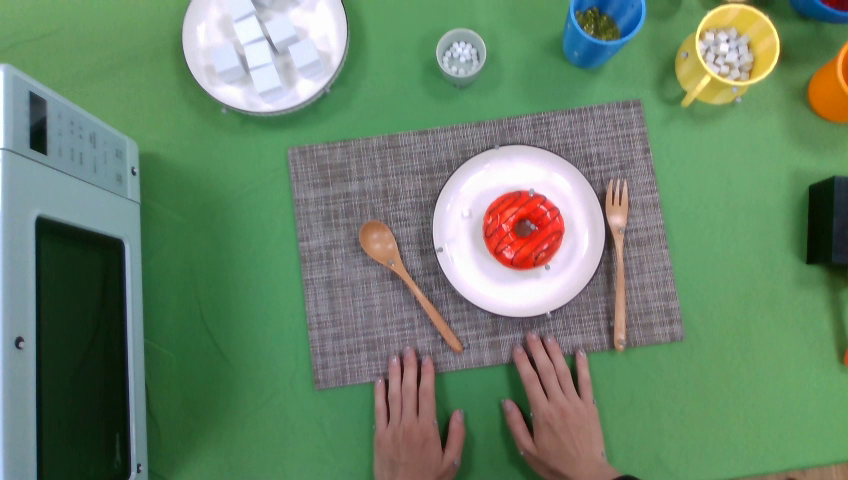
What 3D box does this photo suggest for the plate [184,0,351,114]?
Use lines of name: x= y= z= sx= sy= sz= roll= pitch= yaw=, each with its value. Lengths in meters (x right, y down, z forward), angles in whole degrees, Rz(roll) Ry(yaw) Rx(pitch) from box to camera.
plate: x=-0.195 y=-0.256 z=0.767 sx=0.208 sy=0.039 sz=0.207 roll=0 pitch=83 yaw=1

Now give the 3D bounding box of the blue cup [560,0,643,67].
blue cup: x=0.204 y=-0.255 z=0.729 sx=0.092 sy=0.100 sz=0.092 roll=0 pitch=85 yaw=1

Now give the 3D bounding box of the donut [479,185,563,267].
donut: x=0.114 y=-0.016 z=0.719 sx=0.099 sy=0.048 sz=0.099 roll=0 pitch=84 yaw=3

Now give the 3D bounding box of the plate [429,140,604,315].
plate: x=0.109 y=-0.014 z=0.730 sx=0.209 sy=0.038 sz=0.208 roll=0 pitch=83 yaw=1

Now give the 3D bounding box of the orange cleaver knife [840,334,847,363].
orange cleaver knife: x=0.514 y=0.041 z=0.698 sx=0.012 sy=0.077 sz=0.212 roll=7 pitch=113 yaw=4

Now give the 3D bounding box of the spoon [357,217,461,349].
spoon: x=-0.016 y=0.054 z=0.731 sx=0.041 sy=0.022 sz=0.193 roll=-35 pitch=83 yaw=-22

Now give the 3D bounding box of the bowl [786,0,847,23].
bowl: x=0.500 y=-0.328 z=0.744 sx=0.151 sy=0.077 sz=0.151 roll=0 pitch=84 yaw=2

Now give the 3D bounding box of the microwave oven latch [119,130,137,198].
microwave oven latch: x=-0.365 y=-0.091 z=0.732 sx=0.030 sy=0.029 sz=0.079 roll=-3 pitch=84 yaw=0

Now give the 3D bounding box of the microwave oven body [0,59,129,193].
microwave oven body: x=-0.501 y=0.083 z=0.617 sx=0.326 sy=0.261 sz=0.440 roll=-5 pitch=84 yaw=0

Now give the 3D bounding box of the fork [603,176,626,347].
fork: x=0.232 y=0.025 z=0.732 sx=0.028 sy=0.018 sz=0.206 roll=2 pitch=81 yaw=-3

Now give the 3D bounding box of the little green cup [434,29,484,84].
little green cup: x=0.044 y=-0.228 z=0.760 sx=0.061 sy=0.039 sz=0.061 roll=0 pitch=82 yaw=2

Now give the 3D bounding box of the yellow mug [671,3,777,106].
yellow mug: x=0.354 y=-0.215 z=0.739 sx=0.100 sy=0.064 sz=0.131 roll=40 pitch=87 yaw=5

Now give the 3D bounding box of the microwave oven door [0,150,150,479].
microwave oven door: x=-0.352 y=0.113 z=0.606 sx=0.039 sy=0.244 sz=0.354 roll=-5 pitch=83 yaw=1
